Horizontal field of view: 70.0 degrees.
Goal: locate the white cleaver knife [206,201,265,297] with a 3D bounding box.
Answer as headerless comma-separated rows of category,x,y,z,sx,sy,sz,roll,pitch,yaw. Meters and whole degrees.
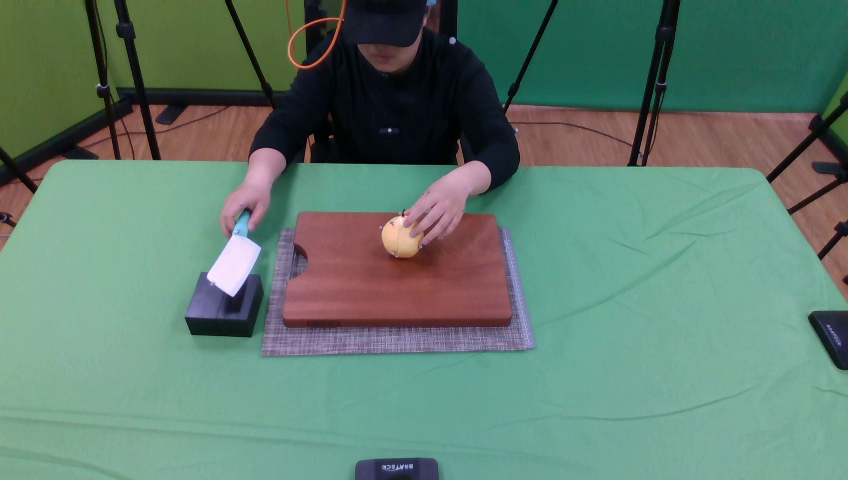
white cleaver knife,-0.331,0.011,1.109,0.066,0.021,0.285,42,24,-21

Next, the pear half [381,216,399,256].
pear half,-0.063,-0.009,1.116,0.031,0.088,0.070,-6,55,-9

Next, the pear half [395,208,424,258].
pear half,-0.027,-0.018,1.114,0.056,0.110,0.076,-6,51,-9
